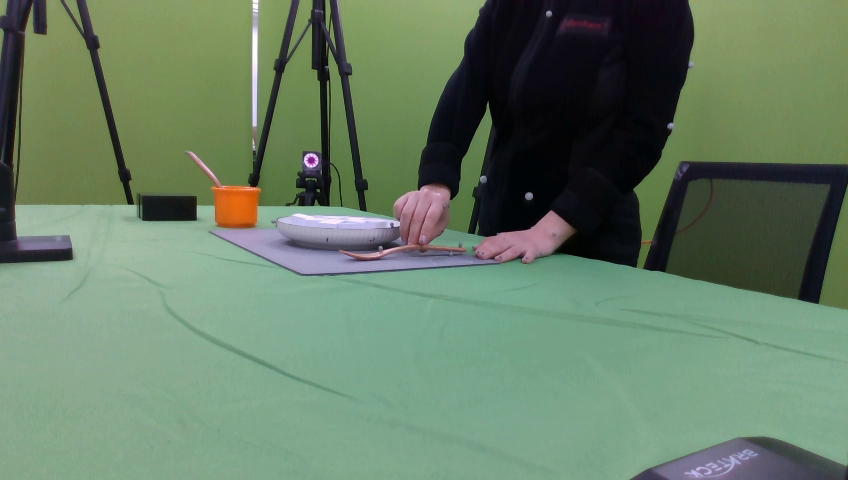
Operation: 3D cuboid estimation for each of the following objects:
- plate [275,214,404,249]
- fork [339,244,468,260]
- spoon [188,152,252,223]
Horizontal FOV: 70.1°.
[{"bbox_3d":[-0.135,-0.013,0.982,0.208,0.039,0.207,3,7,0],"label":"plate"},{"bbox_3d":[-0.024,0.016,0.865,0.208,0.018,0.028,-4,7,-31],"label":"fork"},{"bbox_3d":[-0.400,-0.103,1.178,0.021,0.193,0.042,-43,-11,28],"label":"spoon"}]
